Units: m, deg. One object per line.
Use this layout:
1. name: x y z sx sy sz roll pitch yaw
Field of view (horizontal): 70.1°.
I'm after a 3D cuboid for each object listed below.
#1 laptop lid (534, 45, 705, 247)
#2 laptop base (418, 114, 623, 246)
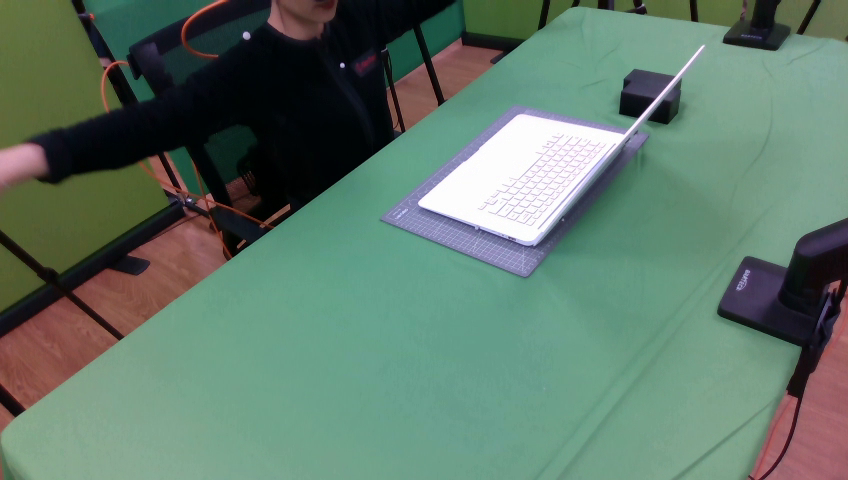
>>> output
1. laptop lid: 0.305 -0.146 0.938 0.013 0.241 0.357 40 54 9
2. laptop base: 0.183 -0.122 1.094 0.233 0.023 0.355 19 47 34
